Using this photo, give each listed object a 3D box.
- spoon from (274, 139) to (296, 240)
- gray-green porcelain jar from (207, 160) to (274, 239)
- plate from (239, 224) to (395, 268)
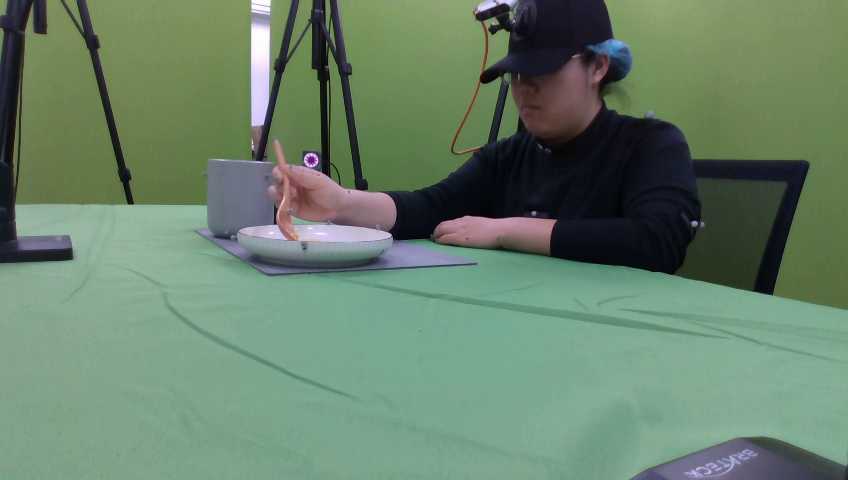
[{"bbox_3d":[-0.197,-0.073,0.851,0.021,0.193,0.042,-22,-36,14],"label":"spoon"},{"bbox_3d":[-0.304,-0.068,1.003,0.106,0.126,0.106,3,7,0],"label":"gray-green porcelain jar"},{"bbox_3d":[-0.144,0.007,0.823,0.208,0.039,0.207,3,7,0],"label":"plate"}]
